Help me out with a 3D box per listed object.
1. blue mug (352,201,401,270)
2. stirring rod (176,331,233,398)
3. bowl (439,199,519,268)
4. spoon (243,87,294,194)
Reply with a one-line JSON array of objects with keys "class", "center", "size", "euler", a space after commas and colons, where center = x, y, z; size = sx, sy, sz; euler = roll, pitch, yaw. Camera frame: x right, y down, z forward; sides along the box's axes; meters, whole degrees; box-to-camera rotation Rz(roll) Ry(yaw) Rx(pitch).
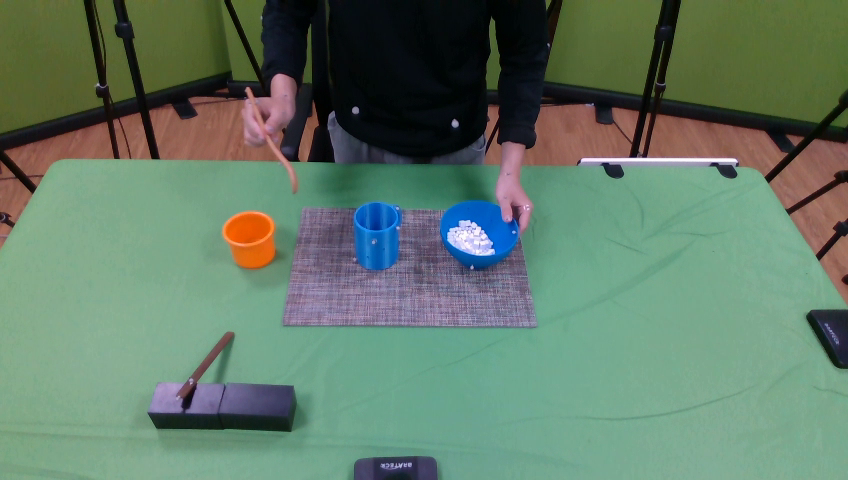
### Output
[{"class": "blue mug", "center": [-0.082, -0.017, 1.144], "size": [0.082, 0.106, 0.116], "euler": [30, 51, 22]}, {"class": "stirring rod", "center": [-0.342, 0.192, 0.955], "size": [0.014, 0.006, 0.175], "euler": [3, 24, 7]}, {"class": "bowl", "center": [0.100, 0.001, 1.160], "size": [0.151, 0.077, 0.150], "euler": [2, 46, -2]}, {"class": "spoon", "center": [-0.266, -0.168, 1.033], "size": [0.021, 0.194, 0.041], "euler": [-28, 9, -9]}]
